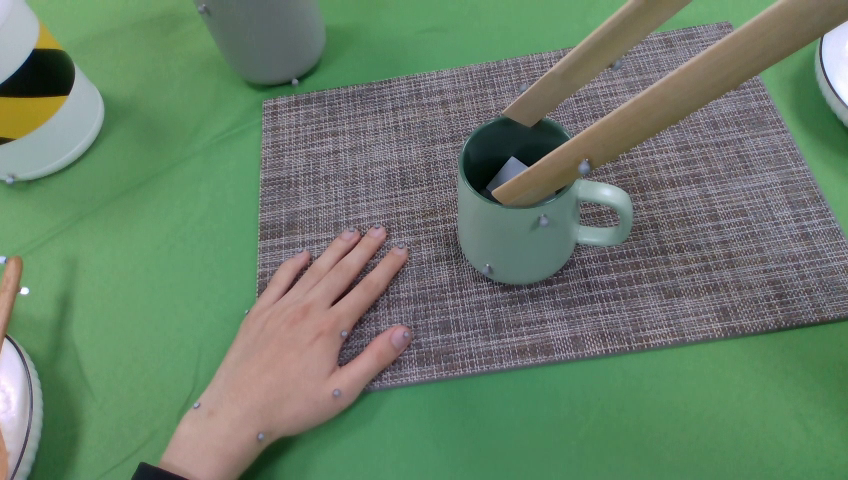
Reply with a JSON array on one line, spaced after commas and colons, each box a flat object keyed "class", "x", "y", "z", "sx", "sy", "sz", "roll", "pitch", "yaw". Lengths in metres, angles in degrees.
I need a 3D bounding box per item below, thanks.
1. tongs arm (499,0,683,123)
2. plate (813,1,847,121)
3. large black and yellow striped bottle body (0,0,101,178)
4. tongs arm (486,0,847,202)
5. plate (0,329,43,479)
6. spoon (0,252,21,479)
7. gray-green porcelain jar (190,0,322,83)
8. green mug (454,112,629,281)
[{"class": "tongs arm", "x": 0.153, "y": -0.135, "z": 0.245, "sx": 0.027, "sy": 0.385, "sz": 0.050, "roll": 26, "pitch": 57, "yaw": -21}, {"class": "plate", "x": 0.426, "y": -0.137, "z": 0.492, "sx": 0.207, "sy": 0.039, "sz": 0.206, "roll": -3, "pitch": 61, "yaw": 6}, {"class": "large black and yellow striped bottle body", "x": -0.391, "y": -0.155, "z": 0.522, "sx": 0.130, "sy": 0.185, "sz": 0.129, "roll": -3, "pitch": 61, "yaw": 6}, {"class": "tongs arm", "x": 0.146, "y": -0.101, "z": 0.227, "sx": 0.028, "sy": 0.387, "sz": 0.028, "roll": 29, "pitch": 55, "yaw": -19}, {"class": "plate", "x": -0.370, "y": 0.154, "z": 0.433, "sx": 0.209, "sy": 0.038, "sz": 0.207, "roll": -3, "pitch": 60, "yaw": 6}, {"class": "spoon", "x": -0.314, "y": 0.095, "z": 0.440, "sx": 0.041, "sy": 0.022, "sz": 0.192, "roll": -7, "pitch": 69, "yaw": 2}, {"class": "gray-green porcelain jar", "x": -0.156, "y": -0.221, "z": 0.564, "sx": 0.106, "sy": 0.127, "sz": 0.105, "roll": -3, "pitch": 60, "yaw": 6}, {"class": "green mug", "x": 0.082, "y": -0.026, "z": 0.432, "sx": 0.125, "sy": 0.106, "sz": 0.092, "roll": 11, "pitch": 62, "yaw": 13}]
